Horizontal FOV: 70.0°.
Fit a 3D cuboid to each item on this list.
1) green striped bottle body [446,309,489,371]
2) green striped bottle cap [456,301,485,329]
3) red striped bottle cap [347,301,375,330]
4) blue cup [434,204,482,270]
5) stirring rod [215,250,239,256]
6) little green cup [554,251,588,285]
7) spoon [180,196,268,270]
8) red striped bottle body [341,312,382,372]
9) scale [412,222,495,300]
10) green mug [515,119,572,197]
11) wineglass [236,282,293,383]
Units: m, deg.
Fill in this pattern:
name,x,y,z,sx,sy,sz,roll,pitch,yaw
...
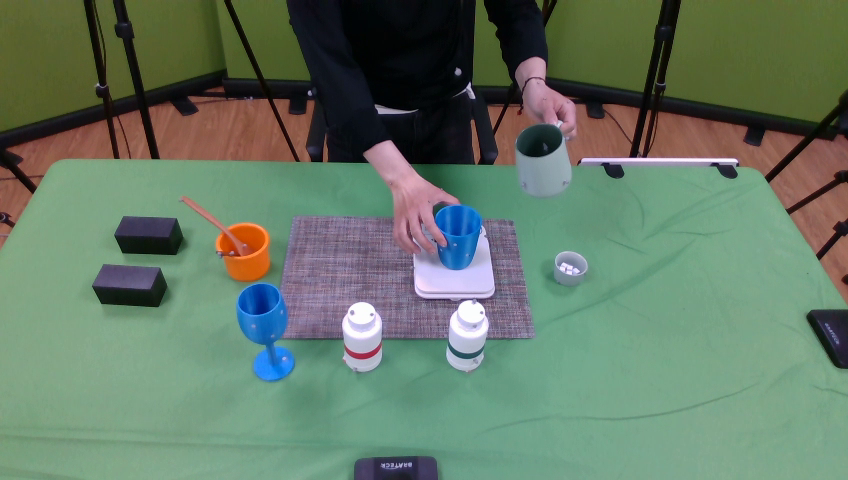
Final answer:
name,x,y,z,sx,sy,sz,roll,pitch,yaw
green striped bottle body,0.070,0.155,0.984,0.063,0.120,0.063,2,45,-2
green striped bottle cap,0.073,0.116,0.943,0.044,0.020,0.044,2,46,-2
red striped bottle cap,-0.097,0.116,0.934,0.044,0.018,0.044,2,48,-2
blue cup,0.060,0.000,1.098,0.092,0.101,0.092,-1,45,1
stirring rod,-0.339,0.024,1.059,0.014,0.176,0.006,18,86,-6
little green cup,0.277,0.055,1.152,0.061,0.039,0.061,1,45,-1
spoon,-0.360,-0.014,1.094,0.021,0.194,0.041,-28,26,31
red striped bottle body,-0.100,0.154,0.972,0.063,0.120,0.062,2,46,-2
scale,0.052,0.031,1.158,0.149,0.032,0.199,1,46,-4
green mug,0.207,-0.146,1.021,0.092,0.105,0.125,19,62,29
wineglass,-0.243,0.143,0.934,0.074,0.173,0.073,2,46,-2
